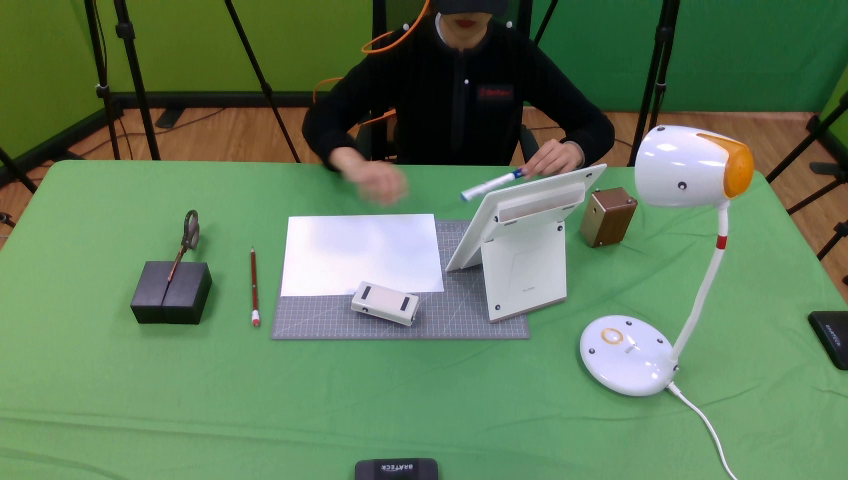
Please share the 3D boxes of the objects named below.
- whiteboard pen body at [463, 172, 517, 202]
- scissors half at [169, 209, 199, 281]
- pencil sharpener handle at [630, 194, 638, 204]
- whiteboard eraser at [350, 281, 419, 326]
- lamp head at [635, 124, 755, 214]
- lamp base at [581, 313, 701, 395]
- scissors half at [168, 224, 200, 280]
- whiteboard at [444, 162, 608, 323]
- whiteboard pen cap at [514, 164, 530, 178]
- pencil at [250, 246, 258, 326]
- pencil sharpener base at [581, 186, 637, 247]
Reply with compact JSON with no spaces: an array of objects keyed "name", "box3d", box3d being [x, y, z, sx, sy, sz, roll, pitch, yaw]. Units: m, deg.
[{"name":"whiteboard pen body","box3d":[0.143,-0.112,1.222,0.141,0.017,0.017,-25,51,-2]},{"name":"scissors half","box3d":[-0.438,0.007,1.098,0.013,0.040,0.174,3,48,-3]},{"name":"pencil sharpener handle","box3d":[0.417,-0.068,1.215,0.031,0.068,0.036,-11,60,-15]},{"name":"whiteboard eraser","box3d":[-0.069,0.113,1.065,0.112,0.042,0.055,14,46,9]},{"name":"lamp head","box3d":[0.351,-0.089,0.775,0.112,0.113,0.122,-30,30,-28]},{"name":"lamp base","box3d":[0.361,0.144,0.972,0.178,0.181,0.160,34,53,23]},{"name":"scissors half","box3d":[-0.440,0.023,1.111,0.013,0.040,0.174,7,29,-6]},{"name":"whiteboard","box3d":[0.186,0.025,1.029,0.217,0.306,0.143,-14,68,-17]},{"name":"whiteboard pen cap","box3d":[0.197,-0.137,1.224,0.033,0.018,0.018,-32,53,-2]},{"name":"pencil","box3d":[-0.312,0.079,1.106,0.012,0.012,0.192,-8,46,-11]},{"name":"pencil sharpener base","box3d":[0.369,-0.047,1.208,0.077,0.107,0.061,-11,47,-15]}]
